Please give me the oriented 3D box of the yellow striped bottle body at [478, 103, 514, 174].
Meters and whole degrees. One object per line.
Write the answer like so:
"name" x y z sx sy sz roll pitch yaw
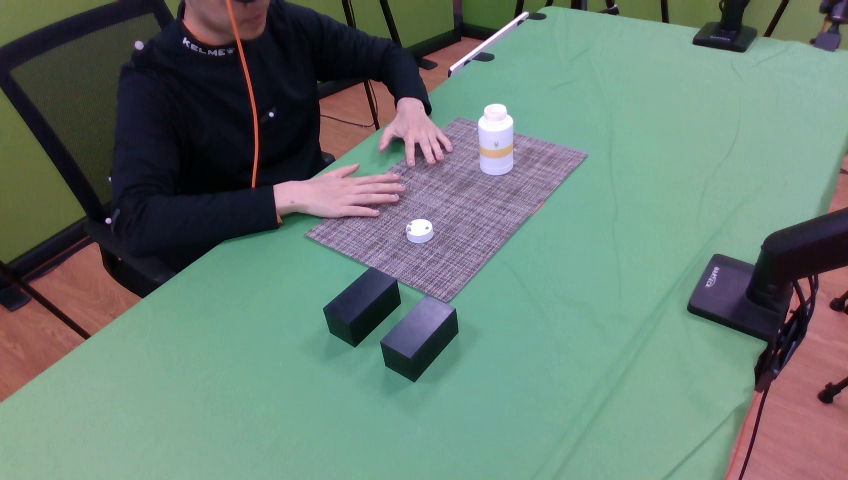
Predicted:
"yellow striped bottle body" 0.129 -0.183 1.080 0.063 0.121 0.062 -4 41 4

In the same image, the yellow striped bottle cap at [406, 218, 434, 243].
"yellow striped bottle cap" -0.007 -0.016 0.987 0.044 0.019 0.044 -4 43 5
